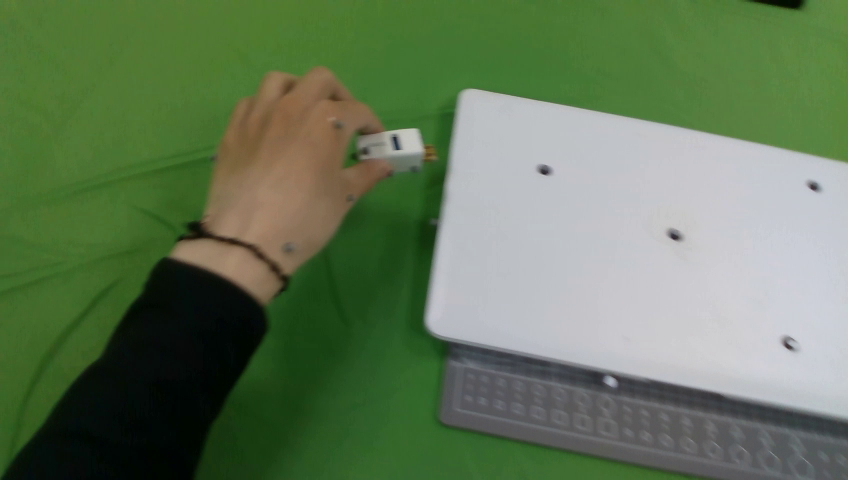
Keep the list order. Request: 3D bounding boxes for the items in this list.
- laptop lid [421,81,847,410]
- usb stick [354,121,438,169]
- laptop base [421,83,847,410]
[{"bbox_3d":[0.187,-0.007,0.457,0.357,0.013,0.240,12,59,0],"label":"laptop lid"},{"bbox_3d":[-0.018,-0.067,0.421,0.059,0.027,0.021,-7,66,-16],"label":"usb stick"},{"bbox_3d":[0.186,-0.002,0.469,0.354,0.023,0.233,11,60,-1],"label":"laptop base"}]
